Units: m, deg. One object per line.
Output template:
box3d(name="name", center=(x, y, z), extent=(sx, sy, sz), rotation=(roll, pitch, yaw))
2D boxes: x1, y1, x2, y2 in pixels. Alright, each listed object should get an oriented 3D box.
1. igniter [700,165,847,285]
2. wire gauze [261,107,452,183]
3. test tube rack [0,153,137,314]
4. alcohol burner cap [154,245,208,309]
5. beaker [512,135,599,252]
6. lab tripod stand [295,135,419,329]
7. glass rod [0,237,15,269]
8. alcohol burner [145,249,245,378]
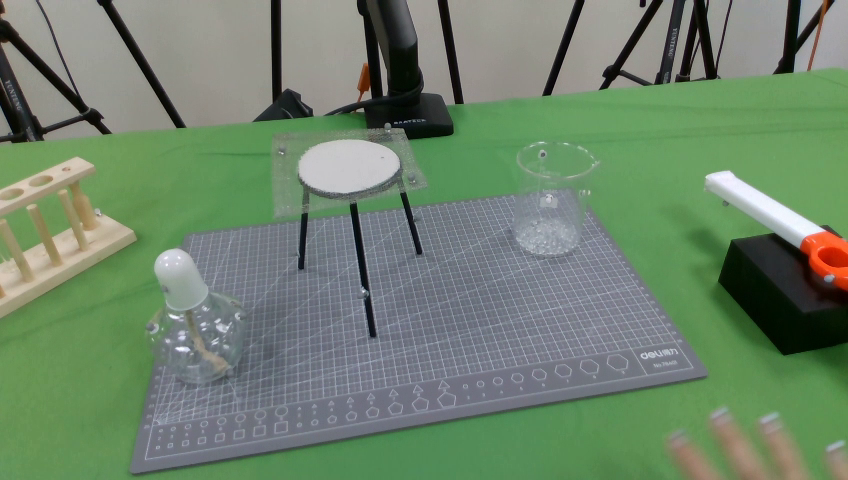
box3d(name="igniter", center=(0.345, 0.001, 0.527), extent=(0.057, 0.025, 0.273), rotation=(-13, 36, -14))
box3d(name="wire gauze", center=(-0.058, -0.078, 0.497), extent=(0.125, 0.011, 0.120), rotation=(-15, 35, -28))
box3d(name="test tube rack", center=(-0.411, 0.013, 0.575), extent=(0.066, 0.086, 0.242), rotation=(23, 44, 28))
box3d(name="alcohol burner cap", center=(-0.188, 0.025, 0.462), extent=(0.034, 0.048, 0.033), rotation=(-2, 41, 2))
box3d(name="beaker", center=(0.128, -0.045, 0.610), extent=(0.084, 0.101, 0.073), rotation=(-3, 38, -1))
box3d(name="lab tripod stand", center=(-0.060, -0.014, 0.550), extent=(0.148, 0.132, 0.147), rotation=(0, 38, 0))
box3d(name="glass rod", center=(-0.409, -0.048, 0.544), extent=(0.008, 0.201, 0.008), rotation=(2, 39, -2))
box3d(name="alcohol burner", center=(-0.186, 0.053, 0.484), extent=(0.078, 0.120, 0.077), rotation=(0, 37, 0))
